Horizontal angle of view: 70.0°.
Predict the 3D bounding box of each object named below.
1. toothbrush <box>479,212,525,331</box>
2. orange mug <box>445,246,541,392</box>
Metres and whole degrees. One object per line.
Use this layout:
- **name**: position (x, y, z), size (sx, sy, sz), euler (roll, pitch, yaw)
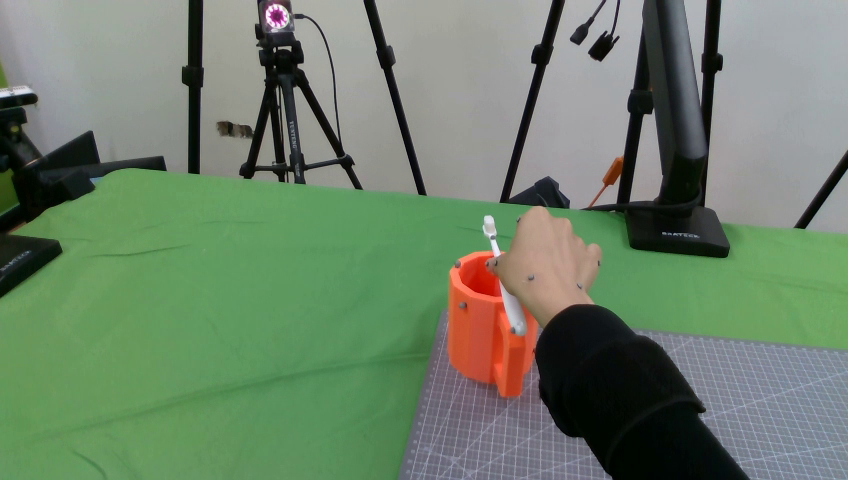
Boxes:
- **toothbrush**: position (0.069, 0.022, 0.552), size (0.014, 0.017, 0.180), euler (-3, 31, -3)
- **orange mug**: position (0.066, 0.076, 0.563), size (0.083, 0.101, 0.125), euler (-4, 27, -7)
